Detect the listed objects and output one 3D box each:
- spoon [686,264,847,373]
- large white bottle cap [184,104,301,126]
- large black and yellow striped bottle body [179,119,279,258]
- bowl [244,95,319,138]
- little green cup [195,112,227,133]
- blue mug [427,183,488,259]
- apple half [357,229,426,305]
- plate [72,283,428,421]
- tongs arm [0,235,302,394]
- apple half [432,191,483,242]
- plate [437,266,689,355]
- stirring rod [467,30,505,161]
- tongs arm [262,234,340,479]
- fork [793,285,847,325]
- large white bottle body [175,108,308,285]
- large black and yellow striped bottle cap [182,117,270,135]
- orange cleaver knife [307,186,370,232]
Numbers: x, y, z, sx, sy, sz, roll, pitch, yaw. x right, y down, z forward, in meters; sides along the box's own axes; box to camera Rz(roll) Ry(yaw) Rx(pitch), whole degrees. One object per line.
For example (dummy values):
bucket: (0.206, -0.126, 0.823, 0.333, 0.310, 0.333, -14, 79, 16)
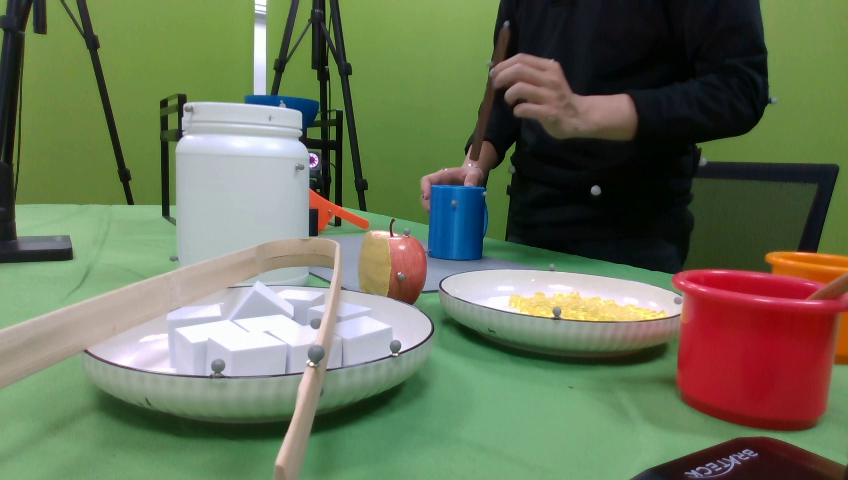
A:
spoon: (0.214, 0.032, 0.328, 0.042, 0.021, 0.193, -3, -35, -26)
large white bottle cap: (-0.184, -0.126, 0.618, 0.115, 0.018, 0.115, 2, 8, 0)
large black and yellow striped bottle body: (-0.271, -0.074, 0.846, 0.131, 0.184, 0.130, 0, 9, 0)
bowl: (-0.293, -0.251, 1.249, 0.151, 0.077, 0.151, 2, 8, 0)
little green cup: (-0.412, -0.227, 1.171, 0.061, 0.038, 0.061, 3, 8, 0)
blue mug: (0.059, -0.031, 0.907, 0.082, 0.106, 0.117, 9, 10, 42)
apple half: (-0.026, 0.028, 0.570, 0.053, 0.074, 0.080, 3, 2, -28)
plate: (-0.102, 0.066, 0.381, 0.208, 0.039, 0.207, 2, 7, 0)
tongs arm: (-0.157, 0.038, 0.351, 0.028, 0.028, 0.388, -3, 8, 12)
apple half: (0.049, -0.037, 0.906, 0.081, 0.081, 0.033, 2, 14, -1)
plate: (0.114, 0.057, 0.518, 0.209, 0.038, 0.209, 2, 7, 0)
stirring rod: (0.083, -0.193, 0.817, 0.014, 0.176, 0.006, 17, 17, 16)
tongs arm: (-0.074, 0.039, 0.349, 0.051, 0.026, 0.384, -2, 10, -3)
fork: (0.331, 0.018, 0.442, 0.028, 0.018, 0.207, -2, -36, -15)
large white bottle body: (-0.188, -0.042, 0.630, 0.131, 0.184, 0.130, 2, 8, 0)
large black and yellow striped bottle cap: (-0.272, -0.156, 0.833, 0.115, 0.019, 0.115, 1, 7, 0)
orange cleaver knife: (-0.197, -0.056, 1.141, 0.212, 0.077, 0.012, 29, 0, -34)
